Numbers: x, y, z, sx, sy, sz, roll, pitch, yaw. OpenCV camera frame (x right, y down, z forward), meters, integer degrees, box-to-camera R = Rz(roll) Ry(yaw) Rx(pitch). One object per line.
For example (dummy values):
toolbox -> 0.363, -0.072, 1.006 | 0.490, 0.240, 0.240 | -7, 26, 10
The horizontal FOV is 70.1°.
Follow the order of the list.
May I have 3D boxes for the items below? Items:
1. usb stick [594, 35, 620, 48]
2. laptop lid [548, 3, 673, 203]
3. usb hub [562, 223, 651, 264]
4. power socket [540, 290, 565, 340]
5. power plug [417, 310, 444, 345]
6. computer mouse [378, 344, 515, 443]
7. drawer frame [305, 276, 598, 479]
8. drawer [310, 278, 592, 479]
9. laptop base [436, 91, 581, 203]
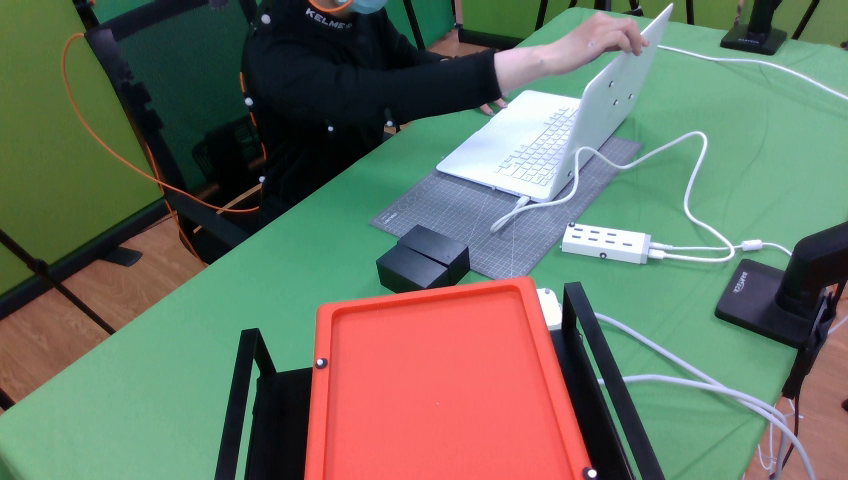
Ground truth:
usb stick -> 0.443, -0.482, 1.466 | 0.059, 0.021, 0.027 | 10, 43, 10
laptop lid -> 0.320, -0.235, 1.026 | 0.013, 0.242, 0.357 | 31, 50, 20
usb hub -> 0.279, 0.005, 0.925 | 0.124, 0.025, 0.049 | 10, 43, 19
power socket -> 0.081, 0.112, 0.822 | 0.227, 0.033, 0.072 | -7, 41, 0
power plug -> 0.007, 0.122, 0.785 | 0.035, 0.053, 0.072 | 1, 39, 7
computer mouse -> 0.018, 0.125, 0.521 | 0.116, 0.041, 0.063 | 13, 47, 30
drawer frame -> 0.014, 0.137, 0.486 | 0.202, 0.083, 0.212 | -8, 41, -1
drawer -> 0.013, 0.136, 0.489 | 0.195, 0.073, 0.210 | -7, 41, 0
laptop base -> 0.214, -0.192, 1.172 | 0.233, 0.023, 0.355 | 19, 46, 32
